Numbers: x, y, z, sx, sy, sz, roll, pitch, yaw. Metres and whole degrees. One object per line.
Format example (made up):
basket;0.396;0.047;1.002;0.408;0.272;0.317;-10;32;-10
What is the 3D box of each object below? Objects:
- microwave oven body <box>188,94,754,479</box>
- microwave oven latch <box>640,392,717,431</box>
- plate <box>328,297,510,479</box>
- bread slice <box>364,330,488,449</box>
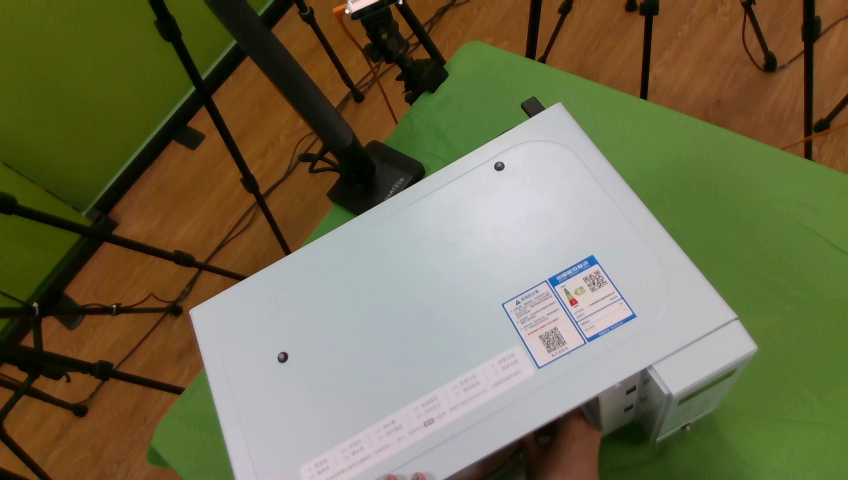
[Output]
microwave oven body;0.036;0.113;0.655;0.442;0.263;0.322;-30;60;1
microwave oven latch;0.278;0.178;0.663;0.079;0.030;0.030;-28;60;2
plate;-0.004;0.168;0.691;0.207;0.039;0.206;-4;65;10
bread slice;-0.005;0.165;0.703;0.131;0.019;0.104;24;68;11
